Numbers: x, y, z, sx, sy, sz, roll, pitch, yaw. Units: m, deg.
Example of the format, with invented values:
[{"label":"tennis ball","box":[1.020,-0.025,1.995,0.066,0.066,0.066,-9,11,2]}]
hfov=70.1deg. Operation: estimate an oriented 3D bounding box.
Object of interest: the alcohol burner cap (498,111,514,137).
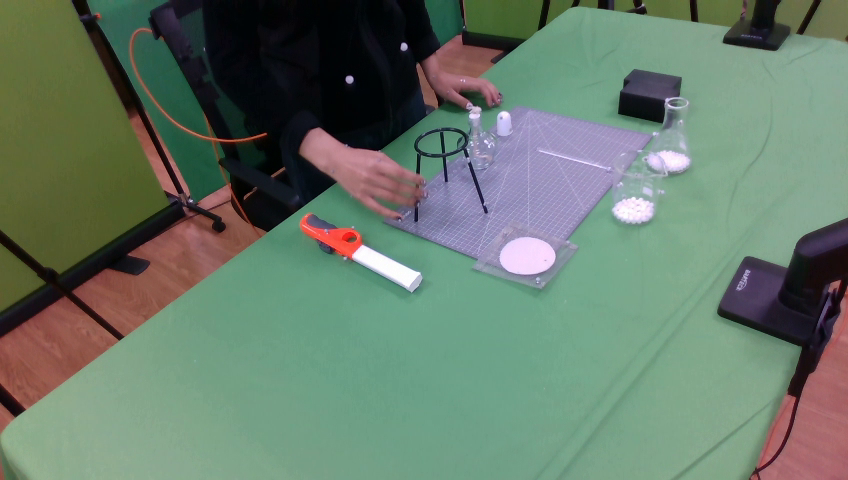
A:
[{"label":"alcohol burner cap","box":[0.163,-0.235,1.211,0.034,0.048,0.033,-6,40,6]}]

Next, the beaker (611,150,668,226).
[{"label":"beaker","box":[0.337,-0.079,0.953,0.083,0.101,0.074,25,51,33]}]

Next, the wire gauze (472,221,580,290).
[{"label":"wire gauze","box":[0.158,0.024,0.933,0.120,0.011,0.125,21,49,31]}]

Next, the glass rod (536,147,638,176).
[{"label":"glass rod","box":[0.294,-0.145,1.104,0.198,0.008,0.008,22,50,31]}]

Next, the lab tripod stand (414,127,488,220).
[{"label":"lab tripod stand","box":[0.036,-0.115,1.022,0.148,0.132,0.147,-7,39,6]}]

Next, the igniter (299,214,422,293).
[{"label":"igniter","box":[-0.113,0.016,0.983,0.274,0.025,0.057,26,62,34]}]

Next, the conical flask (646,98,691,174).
[{"label":"conical flask","box":[0.426,-0.180,1.037,0.075,0.122,0.075,-5,40,5]}]

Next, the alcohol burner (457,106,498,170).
[{"label":"alcohol burner","box":[0.097,-0.192,1.117,0.078,0.119,0.077,-7,39,6]}]
